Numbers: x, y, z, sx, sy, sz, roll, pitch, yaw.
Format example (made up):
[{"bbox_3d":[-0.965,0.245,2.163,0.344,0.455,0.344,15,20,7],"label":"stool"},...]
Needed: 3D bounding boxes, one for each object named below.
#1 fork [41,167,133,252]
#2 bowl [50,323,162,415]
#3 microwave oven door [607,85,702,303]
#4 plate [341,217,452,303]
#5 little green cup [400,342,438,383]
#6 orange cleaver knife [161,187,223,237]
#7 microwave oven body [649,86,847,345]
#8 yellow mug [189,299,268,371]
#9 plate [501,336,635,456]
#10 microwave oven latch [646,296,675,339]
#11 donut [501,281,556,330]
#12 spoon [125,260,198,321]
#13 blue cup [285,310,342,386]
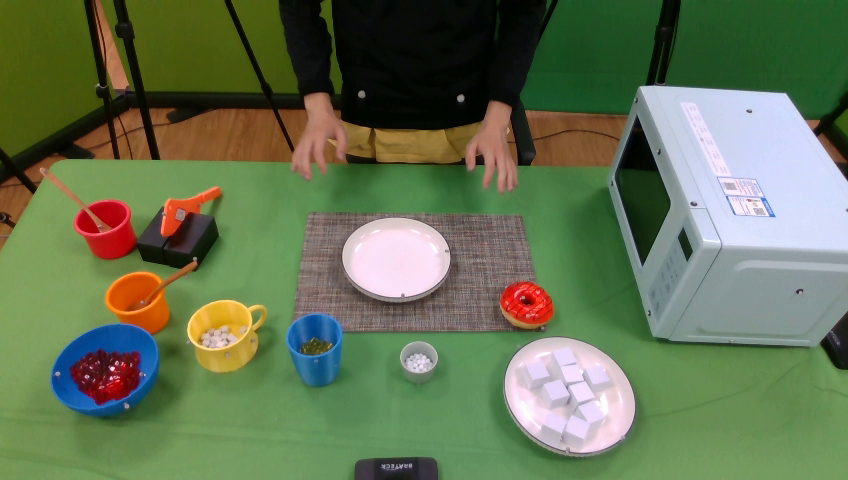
[{"bbox_3d":[-0.624,-0.056,1.121,0.208,0.018,0.028,49,52,-15],"label":"fork"},{"bbox_3d":[-0.472,0.209,0.924,0.151,0.077,0.150,3,45,-2],"label":"bowl"},{"bbox_3d":[0.423,-0.094,1.141,0.039,0.245,0.353,2,46,-1],"label":"microwave oven door"},{"bbox_3d":[-0.052,0.039,1.140,0.209,0.038,0.208,2,46,-2],"label":"plate"},{"bbox_3d":[-0.010,0.202,0.991,0.061,0.039,0.061,2,47,-2],"label":"little green cup"},{"bbox_3d":[-0.448,-0.058,1.181,0.012,0.077,0.211,13,17,6],"label":"orange cleaver knife"},{"bbox_3d":[0.568,-0.053,1.118,0.326,0.261,0.439,2,45,-1],"label":"microwave oven body"},{"bbox_3d":[-0.316,0.148,1.002,0.131,0.064,0.099,-32,56,-31],"label":"yellow mug"},{"bbox_3d":[0.225,0.248,0.963,0.208,0.039,0.206,2,46,-2],"label":"plate"},{"bbox_3d":[0.412,0.134,1.061,0.030,0.029,0.078,4,45,1],"label":"microwave oven latch"},{"bbox_3d":[0.185,0.116,1.079,0.099,0.048,0.098,3,45,-3],"label":"donut"},{"bbox_3d":[-0.435,0.083,1.000,0.022,0.194,0.041,35,34,-35],"label":"spoon"},{"bbox_3d":[-0.170,0.179,0.958,0.093,0.101,0.092,2,44,-1],"label":"blue cup"}]
